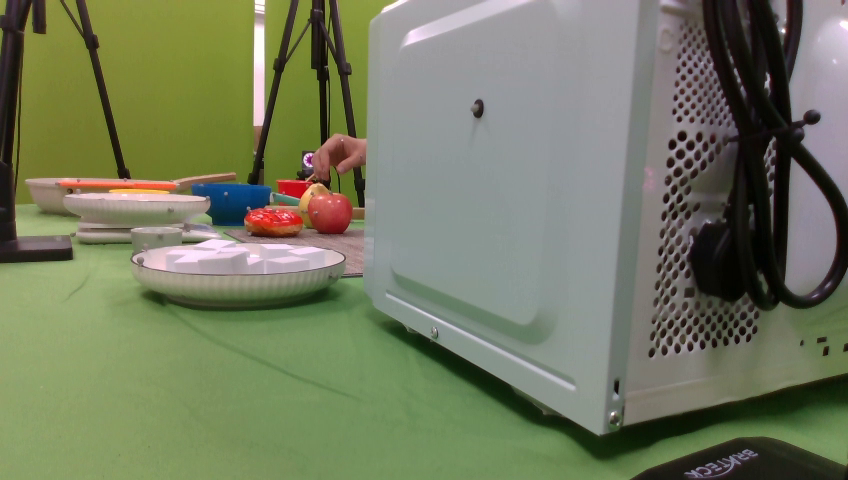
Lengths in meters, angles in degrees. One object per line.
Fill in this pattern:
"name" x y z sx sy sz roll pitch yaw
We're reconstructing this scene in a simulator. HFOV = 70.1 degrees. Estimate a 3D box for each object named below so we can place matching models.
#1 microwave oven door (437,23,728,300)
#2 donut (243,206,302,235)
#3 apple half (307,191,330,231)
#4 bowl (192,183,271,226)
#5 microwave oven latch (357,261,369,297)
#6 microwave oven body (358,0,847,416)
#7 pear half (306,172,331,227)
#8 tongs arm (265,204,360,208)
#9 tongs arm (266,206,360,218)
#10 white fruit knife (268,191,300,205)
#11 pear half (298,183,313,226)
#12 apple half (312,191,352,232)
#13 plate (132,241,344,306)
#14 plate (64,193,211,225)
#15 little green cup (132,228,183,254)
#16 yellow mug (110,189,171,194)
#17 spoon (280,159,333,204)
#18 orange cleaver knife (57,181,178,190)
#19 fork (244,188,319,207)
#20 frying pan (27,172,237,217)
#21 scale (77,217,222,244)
"microwave oven door" 0.180 -0.072 0.621 0.358 0.243 0.039 -2 9 -29
"donut" -0.261 -0.032 1.043 0.099 0.048 0.099 4 9 0
"apple half" -0.197 -0.055 1.114 0.032 0.081 0.081 9 10 21
"bowl" -0.382 -0.071 1.202 0.151 0.077 0.151 3 7 0
"microwave oven latch" -0.019 0.033 0.530 0.079 0.029 0.030 -1 7 -26
"microwave oven body" 0.211 -0.047 0.474 0.444 0.260 0.324 -1 7 -28
"pear half" -0.200 -0.079 1.203 0.056 0.110 0.076 3 11 1
"tongs arm" -0.209 -0.069 1.439 0.389 0.027 0.028 1 0 -16
"tongs arm" -0.173 -0.061 1.362 0.387 0.026 0.050 -1 4 -31
"white fruit knife" -0.364 -0.105 1.464 0.208 0.027 0.016 15 -1 -34
"pear half" -0.235 -0.071 1.207 0.031 0.088 0.070 3 10 0
"apple half" -0.160 -0.050 1.101 0.053 0.074 0.081 9 7 23
"plate" -0.187 0.033 0.625 0.208 0.039 0.207 2 8 0
"plate" -0.446 -0.050 0.952 0.209 0.038 0.209 2 7 0
"little green cup" -0.342 0.006 0.779 0.061 0.038 0.061 2 8 0
"yellow mug" -0.519 -0.055 1.080 0.099 0.064 0.131 7 10 26
"spoon" -0.316 -0.159 1.640 0.194 0.022 0.041 -50 32 -20
"orange cleaver knife" -0.600 -0.109 1.189 0.212 0.012 0.077 -1 11 -26
"fork" -0.356 -0.105 1.526 0.208 0.018 0.028 16 -5 -41
"frying pan" -0.624 -0.118 1.387 0.305 0.102 0.490 8 17 32
"scale" -0.434 -0.018 0.963 0.202 0.031 0.148 -1 8 -27
